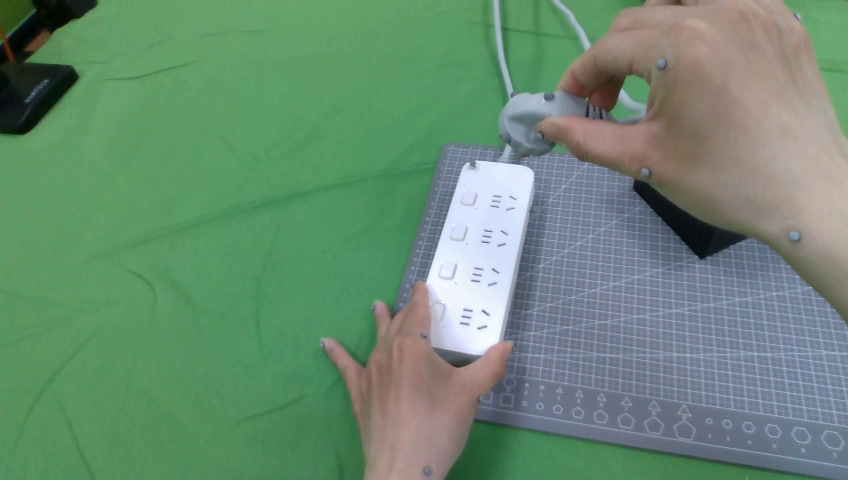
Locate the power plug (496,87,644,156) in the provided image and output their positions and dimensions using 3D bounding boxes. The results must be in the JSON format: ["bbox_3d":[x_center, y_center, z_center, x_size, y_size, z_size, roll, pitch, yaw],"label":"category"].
[{"bbox_3d":[0.074,-0.056,0.335,0.072,0.053,0.035,31,69,-4],"label":"power plug"}]

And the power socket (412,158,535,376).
[{"bbox_3d":[0.048,0.011,0.530,0.072,0.033,0.225,9,53,12],"label":"power socket"}]
